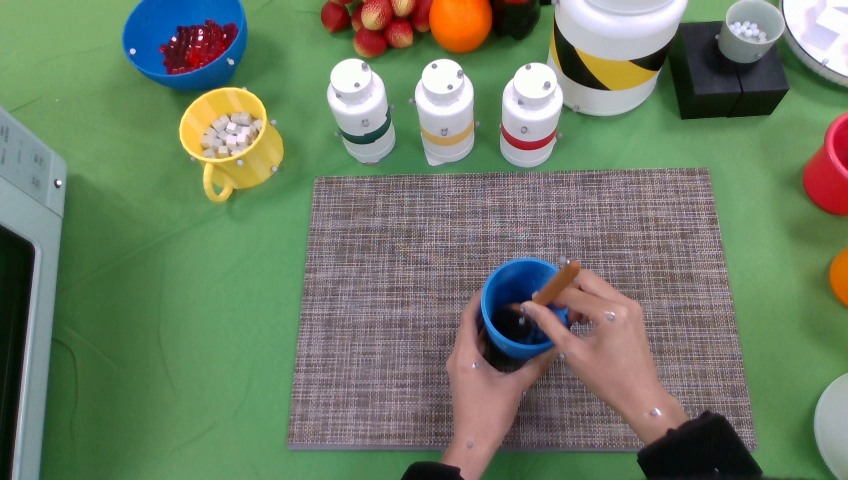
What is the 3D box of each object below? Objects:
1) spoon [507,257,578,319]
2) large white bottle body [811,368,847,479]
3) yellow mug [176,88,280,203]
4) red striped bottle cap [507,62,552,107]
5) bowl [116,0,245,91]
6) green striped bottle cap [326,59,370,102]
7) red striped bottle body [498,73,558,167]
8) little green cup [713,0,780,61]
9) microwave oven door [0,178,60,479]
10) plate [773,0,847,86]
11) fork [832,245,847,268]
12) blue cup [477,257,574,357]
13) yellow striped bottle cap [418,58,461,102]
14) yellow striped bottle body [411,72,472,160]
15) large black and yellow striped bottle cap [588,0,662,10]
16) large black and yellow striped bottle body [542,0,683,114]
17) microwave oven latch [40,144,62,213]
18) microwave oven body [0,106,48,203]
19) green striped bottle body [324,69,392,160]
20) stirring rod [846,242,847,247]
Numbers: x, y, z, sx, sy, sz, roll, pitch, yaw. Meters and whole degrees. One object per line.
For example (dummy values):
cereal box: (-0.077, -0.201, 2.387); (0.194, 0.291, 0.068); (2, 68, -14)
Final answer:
spoon: (0.092, 0.051, 0.527); (0.041, 0.194, 0.021); (37, 71, 4)
large white bottle body: (0.418, 0.145, 0.481); (0.130, 0.186, 0.129); (-2, 66, 5)
yellow mug: (-0.230, -0.104, 0.702); (0.100, 0.064, 0.130); (8, 69, 7)
red striped bottle cap: (0.107, -0.157, 0.610); (0.044, 0.018, 0.044); (0, 66, 1)
bowl: (-0.289, -0.241, 0.757); (0.151, 0.077, 0.150); (-1, 68, 4)
green striped bottle cap: (-0.079, -0.166, 0.630); (0.044, 0.020, 0.044); (-1, 66, 4)
red striped bottle body: (0.113, -0.136, 0.658); (0.063, 0.121, 0.062); (-4, 65, 8)
little green cup: (0.352, -0.230, 0.667); (0.061, 0.039, 0.061); (-1, 66, 3)
microwave oven door: (-0.418, 0.090, 0.522); (0.039, 0.245, 0.353); (-10, 67, 1)
plate: (0.521, -0.261, 0.721); (0.209, 0.038, 0.207); (-2, 68, 4)
fork: (0.473, 0.039, 0.540); (0.028, 0.019, 0.205); (-35, 25, -15)
blue cup: (0.094, 0.073, 0.581); (0.092, 0.101, 0.092); (-2, 69, 5)
yellow striped bottle cap: (0.015, -0.164, 0.622); (0.044, 0.019, 0.044); (-1, 69, 4)
yellow striped bottle body: (0.020, -0.144, 0.669); (0.063, 0.121, 0.062); (-2, 67, 5)
large black and yellow striped bottle cap: (0.193, -0.271, 0.582); (0.115, 0.019, 0.114); (-2, 66, 5)
large black and yellow striped bottle body: (0.201, -0.240, 0.659); (0.131, 0.185, 0.130); (-2, 67, 4)
microwave oven latch: (-0.441, -0.069, 0.700); (0.030, 0.030, 0.078); (-8, 68, 1)
microwave oven body: (-0.567, 0.079, 0.545); (0.326, 0.262, 0.438); (-10, 68, 0)
green striped bottle body: (-0.074, -0.146, 0.678); (0.063, 0.120, 0.062); (-2, 67, 4)
stirring rod: (0.445, 0.038, 0.548); (0.014, 0.006, 0.174); (-8, 24, 1)
